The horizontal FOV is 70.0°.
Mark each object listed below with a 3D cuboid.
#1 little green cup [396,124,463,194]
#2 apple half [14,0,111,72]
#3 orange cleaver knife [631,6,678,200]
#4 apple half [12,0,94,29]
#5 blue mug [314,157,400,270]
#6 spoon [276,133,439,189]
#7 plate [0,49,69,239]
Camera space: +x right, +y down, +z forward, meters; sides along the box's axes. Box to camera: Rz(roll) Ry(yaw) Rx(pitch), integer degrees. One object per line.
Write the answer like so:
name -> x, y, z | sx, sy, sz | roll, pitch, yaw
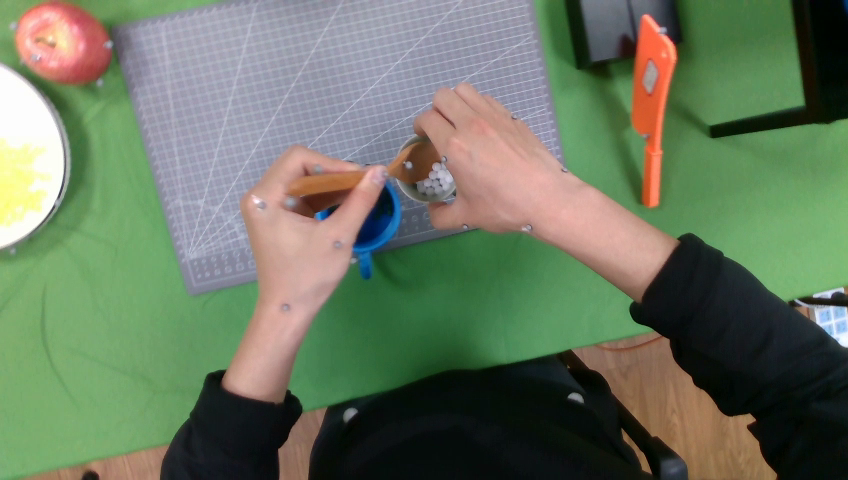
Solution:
little green cup -> 0.006, -0.070, 0.539 | 0.061, 0.039, 0.061 | 1, 92, 14
apple half -> -0.351, -0.196, 0.604 | 0.081, 0.074, 0.053 | -28, 103, -5
orange cleaver knife -> 0.244, -0.142, 0.659 | 0.012, 0.076, 0.213 | -14, 129, -4
apple half -> -0.368, -0.231, 0.597 | 0.081, 0.081, 0.033 | -27, 103, -1
blue mug -> -0.067, -0.027, 0.634 | 0.082, 0.105, 0.117 | -5, 97, -5
spoon -> -0.041, -0.057, 0.461 | 0.021, 0.194, 0.042 | 34, 116, 17
plate -> -0.471, -0.101, 0.622 | 0.209, 0.038, 0.209 | -1, 98, -5
